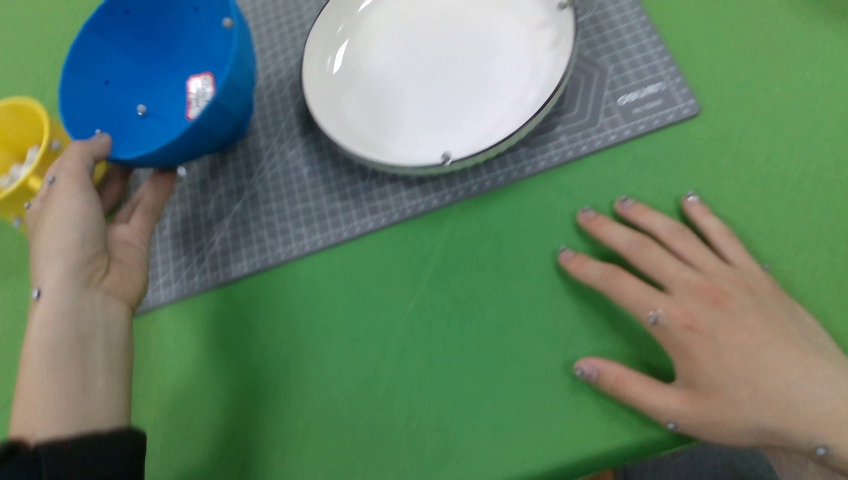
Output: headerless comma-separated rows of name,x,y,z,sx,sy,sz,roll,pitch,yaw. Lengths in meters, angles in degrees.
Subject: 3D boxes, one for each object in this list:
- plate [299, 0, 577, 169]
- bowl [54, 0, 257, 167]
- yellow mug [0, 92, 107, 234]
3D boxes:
plate,0.009,-0.142,0.452,0.209,0.038,0.207,-5,68,13
bowl,-0.178,-0.113,0.443,0.151,0.077,0.150,-5,73,17
yellow mug,-0.319,-0.055,0.498,0.130,0.064,0.100,31,80,23
